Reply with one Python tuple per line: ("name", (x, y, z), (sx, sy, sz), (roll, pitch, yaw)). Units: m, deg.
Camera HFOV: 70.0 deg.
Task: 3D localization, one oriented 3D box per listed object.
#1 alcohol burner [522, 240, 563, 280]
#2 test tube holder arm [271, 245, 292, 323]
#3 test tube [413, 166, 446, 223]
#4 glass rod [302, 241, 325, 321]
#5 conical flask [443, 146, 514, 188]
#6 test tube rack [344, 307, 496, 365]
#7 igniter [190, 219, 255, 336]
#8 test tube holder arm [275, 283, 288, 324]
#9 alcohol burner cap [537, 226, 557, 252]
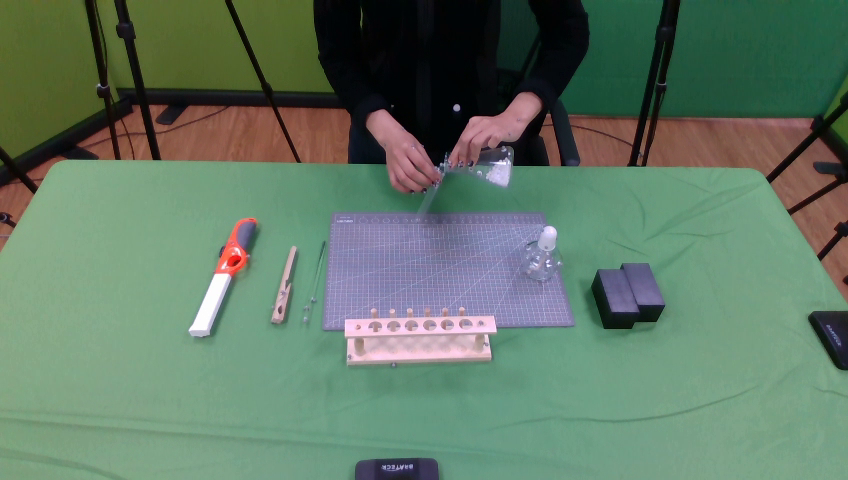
("alcohol burner", (0.224, 0.020, 1.131), (0.078, 0.119, 0.077), (4, 46, -4))
("test tube holder arm", (-0.259, 0.076, 1.106), (0.013, 0.015, 0.177), (28, 38, -29))
("test tube", (0.009, -0.084, 1.152), (0.017, 0.150, 0.017), (13, 48, -14))
("glass rod", (-0.203, 0.071, 1.124), (0.008, 0.008, 0.198), (4, 44, 1))
("conical flask", (0.096, -0.135, 1.080), (0.122, 0.076, 0.075), (6, 46, 7))
("test tube rack", (-0.009, 0.154, 1.007), (0.242, 0.085, 0.066), (-1, 46, -5))
("igniter", (-0.365, 0.058, 1.110), (0.057, 0.025, 0.275), (-1, 45, 8))
("test tube holder arm", (-0.254, 0.110, 1.077), (0.010, 0.015, 0.087), (29, 38, -27))
("alcohol burner cap", (0.226, -0.004, 1.104), (0.034, 0.048, 0.033), (0, 50, 1))
